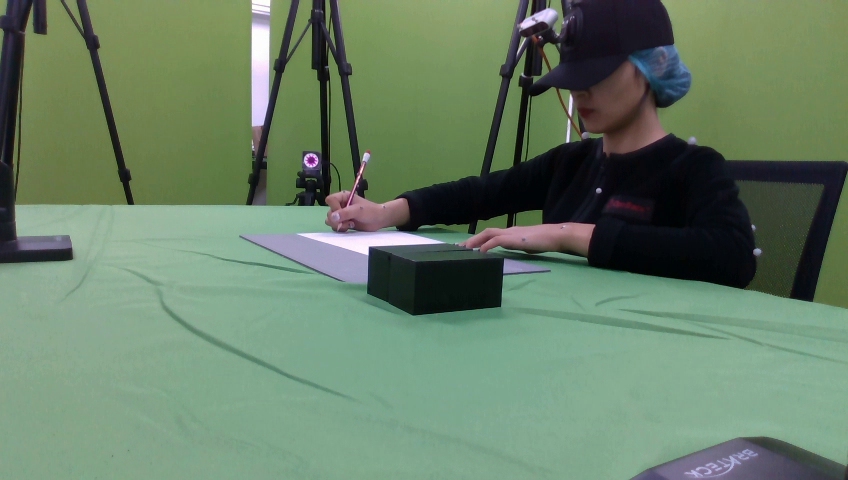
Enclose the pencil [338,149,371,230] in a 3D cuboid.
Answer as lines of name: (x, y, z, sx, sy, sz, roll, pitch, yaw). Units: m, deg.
pencil: (-0.130, -0.097, 1.132, 0.012, 0.194, 0.012, 12, -32, 8)
